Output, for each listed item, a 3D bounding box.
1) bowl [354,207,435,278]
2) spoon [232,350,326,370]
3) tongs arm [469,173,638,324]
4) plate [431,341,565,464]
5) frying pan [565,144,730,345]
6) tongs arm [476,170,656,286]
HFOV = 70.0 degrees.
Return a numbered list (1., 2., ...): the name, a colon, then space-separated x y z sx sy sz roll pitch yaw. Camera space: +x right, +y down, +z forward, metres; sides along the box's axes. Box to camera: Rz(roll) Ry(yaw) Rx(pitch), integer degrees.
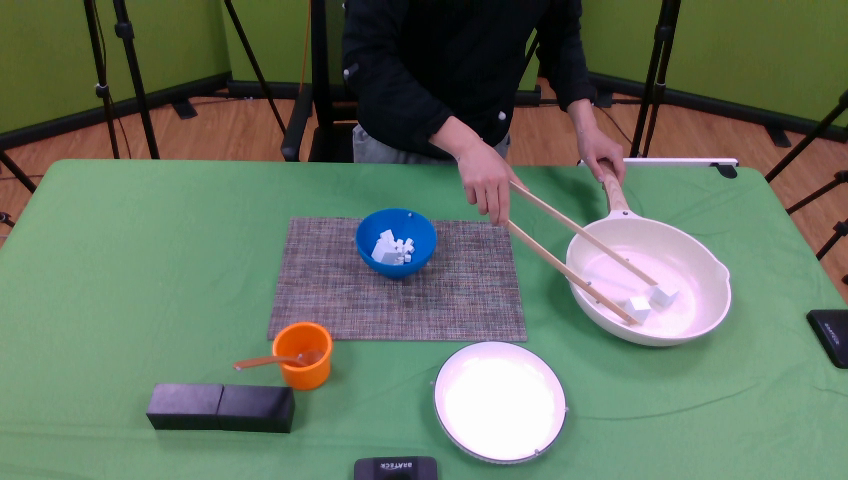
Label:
1. bowl: -0.055 0.018 1.132 0.151 0.077 0.150 2 46 -2
2. spoon: -0.216 0.182 0.919 0.041 0.194 0.021 43 102 27
3. tongs arm: 0.230 0.018 1.066 0.385 0.026 0.050 36 71 -6
4. plate: 0.114 0.255 0.951 0.208 0.039 0.206 3 46 -2
5. frying pan: 0.396 -0.008 1.179 0.307 0.103 0.484 0 55 -5
6. tongs arm: 0.256 -0.020 1.083 0.388 0.028 0.028 32 75 -8
